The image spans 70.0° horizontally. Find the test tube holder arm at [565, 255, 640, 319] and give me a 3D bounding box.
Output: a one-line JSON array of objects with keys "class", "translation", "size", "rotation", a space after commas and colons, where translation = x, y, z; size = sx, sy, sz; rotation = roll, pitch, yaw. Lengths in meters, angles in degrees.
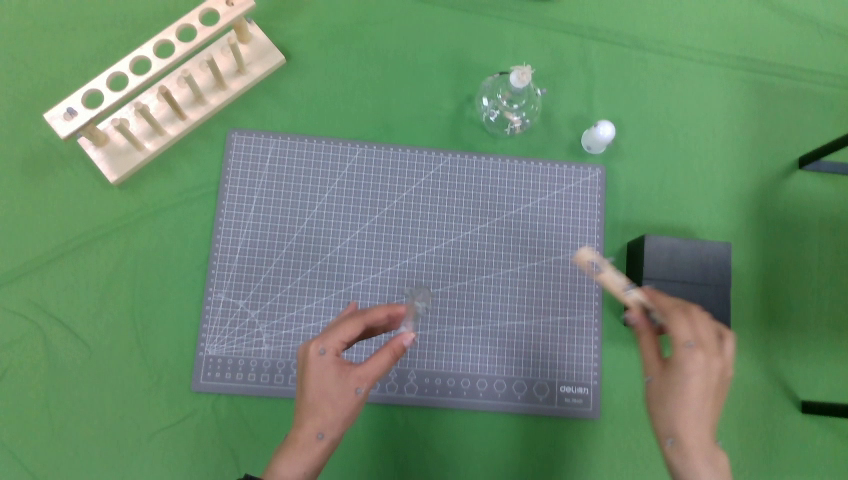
[{"class": "test tube holder arm", "translation": [0.170, 0.044, 0.570], "size": [0.088, 0.015, 0.010], "rotation": [38, 100, 3]}]

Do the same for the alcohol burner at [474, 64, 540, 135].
[{"class": "alcohol burner", "translation": [0.097, -0.164, 0.683], "size": [0.078, 0.119, 0.077], "rotation": [1, 79, -6]}]

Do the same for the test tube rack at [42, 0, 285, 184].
[{"class": "test tube rack", "translation": [-0.276, -0.171, 0.668], "size": [0.242, 0.085, 0.066], "rotation": [-40, 84, -10]}]

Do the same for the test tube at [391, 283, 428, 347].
[{"class": "test tube", "translation": [-0.014, 0.068, 0.522], "size": [0.017, 0.151, 0.017], "rotation": [3, 66, -7]}]

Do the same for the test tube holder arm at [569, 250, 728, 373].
[{"class": "test tube holder arm", "translation": [0.209, 0.066, 0.567], "size": [0.178, 0.015, 0.013], "rotation": [36, 99, 3]}]

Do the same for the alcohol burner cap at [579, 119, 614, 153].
[{"class": "alcohol burner cap", "translation": [0.207, -0.126, 0.721], "size": [0.034, 0.048, 0.033], "rotation": [1, 79, -4]}]
